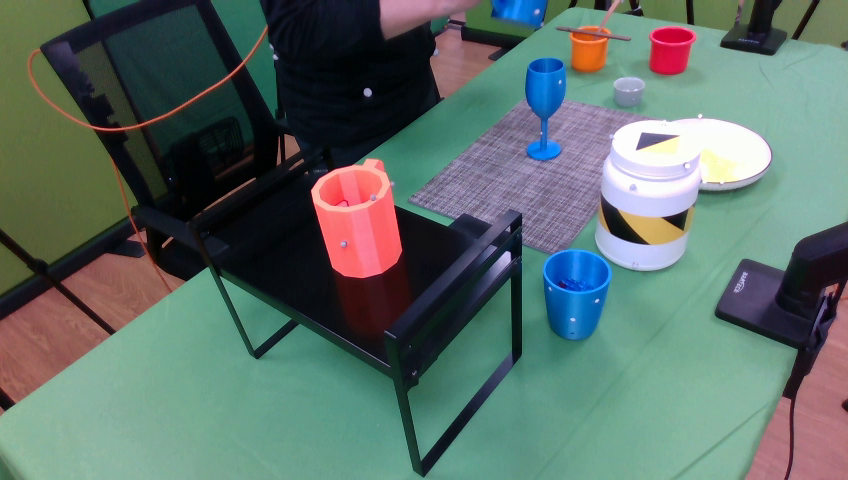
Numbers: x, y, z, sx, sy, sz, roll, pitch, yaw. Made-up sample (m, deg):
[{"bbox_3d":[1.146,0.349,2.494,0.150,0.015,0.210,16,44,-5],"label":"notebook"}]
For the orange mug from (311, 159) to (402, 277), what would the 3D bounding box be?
[{"bbox_3d":[-0.070,-0.034,0.694,0.083,0.101,0.126,5,46,16],"label":"orange mug"}]

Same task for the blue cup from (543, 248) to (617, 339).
[{"bbox_3d":[0.199,0.076,0.797,0.092,0.100,0.092,-4,39,4],"label":"blue cup"}]

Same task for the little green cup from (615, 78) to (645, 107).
[{"bbox_3d":[0.426,-0.306,1.257,0.061,0.039,0.061,-5,40,4],"label":"little green cup"}]

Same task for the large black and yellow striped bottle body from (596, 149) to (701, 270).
[{"bbox_3d":[0.323,-0.062,0.877,0.131,0.185,0.130,-5,40,4],"label":"large black and yellow striped bottle body"}]

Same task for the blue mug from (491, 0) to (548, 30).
[{"bbox_3d":[0.148,-0.400,0.957,0.117,0.106,0.081,-1,21,-41],"label":"blue mug"}]

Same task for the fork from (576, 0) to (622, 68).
[{"bbox_3d":[0.409,-0.484,1.381,0.028,0.019,0.207,37,101,46],"label":"fork"}]

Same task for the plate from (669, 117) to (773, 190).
[{"bbox_3d":[0.495,-0.148,1.063,0.209,0.038,0.208,-5,40,4],"label":"plate"}]

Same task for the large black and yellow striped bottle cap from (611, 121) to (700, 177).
[{"bbox_3d":[0.315,-0.126,0.823,0.115,0.019,0.114,-4,42,4],"label":"large black and yellow striped bottle cap"}]

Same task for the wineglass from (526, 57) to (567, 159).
[{"bbox_3d":[0.221,-0.237,1.097,0.074,0.173,0.073,-4,41,4],"label":"wineglass"}]

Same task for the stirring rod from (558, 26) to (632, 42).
[{"bbox_3d":[0.381,-0.462,1.356,0.175,0.006,0.014,22,48,30],"label":"stirring rod"}]
